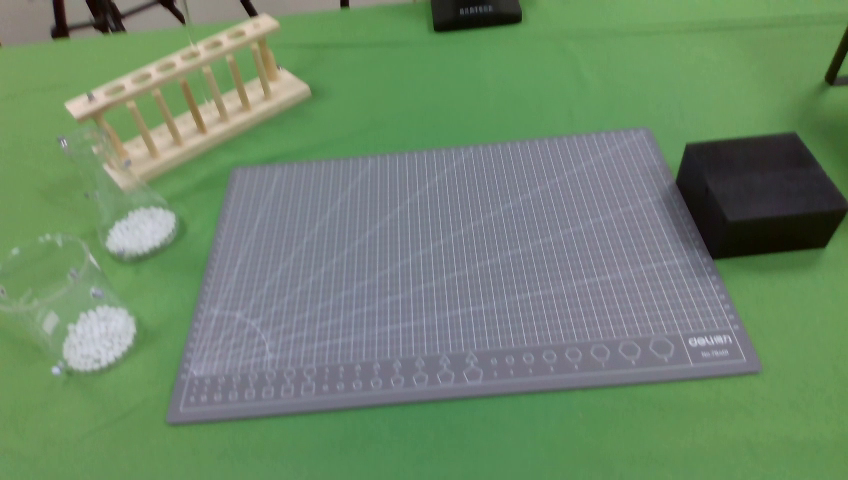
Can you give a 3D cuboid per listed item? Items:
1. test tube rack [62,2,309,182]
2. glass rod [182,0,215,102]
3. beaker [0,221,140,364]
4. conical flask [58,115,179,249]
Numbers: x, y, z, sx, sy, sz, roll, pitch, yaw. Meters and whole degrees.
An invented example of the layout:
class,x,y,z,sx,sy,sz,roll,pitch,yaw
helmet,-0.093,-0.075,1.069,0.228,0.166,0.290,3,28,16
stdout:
class,x,y,z,sx,sy,sz,roll,pitch,yaw
test tube rack,-0.255,-0.171,0.679,0.242,0.086,0.066,-36,54,-23
glass rod,-0.251,-0.239,0.650,0.008,0.201,0.008,-1,41,1
beaker,-0.281,0.045,0.485,0.074,0.101,0.083,-8,48,-1
conical flask,-0.284,-0.055,0.557,0.075,0.123,0.074,-3,48,4
